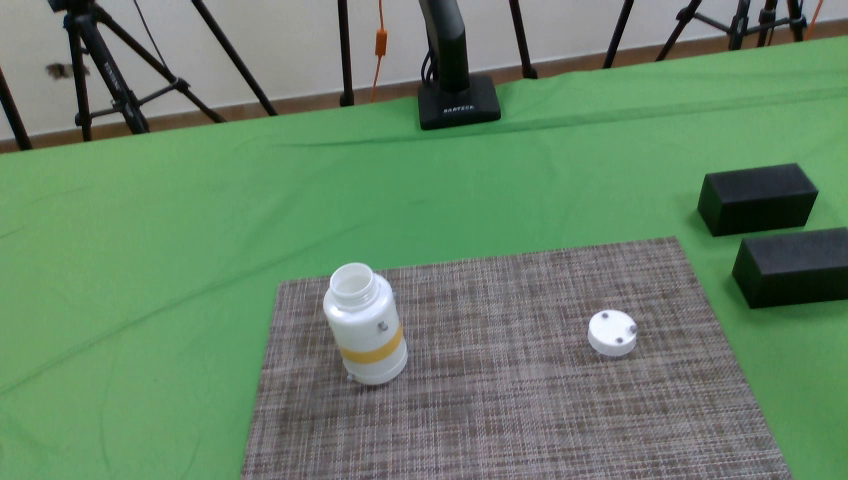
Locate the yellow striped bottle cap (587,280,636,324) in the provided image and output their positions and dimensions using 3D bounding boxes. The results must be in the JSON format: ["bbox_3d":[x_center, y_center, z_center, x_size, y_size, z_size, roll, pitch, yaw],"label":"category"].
[{"bbox_3d":[0.176,0.058,0.569,0.044,0.019,0.044,-8,36,6],"label":"yellow striped bottle cap"}]

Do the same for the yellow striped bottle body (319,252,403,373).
[{"bbox_3d":[-0.058,0.065,0.559,0.063,0.121,0.062,-5,45,5],"label":"yellow striped bottle body"}]
